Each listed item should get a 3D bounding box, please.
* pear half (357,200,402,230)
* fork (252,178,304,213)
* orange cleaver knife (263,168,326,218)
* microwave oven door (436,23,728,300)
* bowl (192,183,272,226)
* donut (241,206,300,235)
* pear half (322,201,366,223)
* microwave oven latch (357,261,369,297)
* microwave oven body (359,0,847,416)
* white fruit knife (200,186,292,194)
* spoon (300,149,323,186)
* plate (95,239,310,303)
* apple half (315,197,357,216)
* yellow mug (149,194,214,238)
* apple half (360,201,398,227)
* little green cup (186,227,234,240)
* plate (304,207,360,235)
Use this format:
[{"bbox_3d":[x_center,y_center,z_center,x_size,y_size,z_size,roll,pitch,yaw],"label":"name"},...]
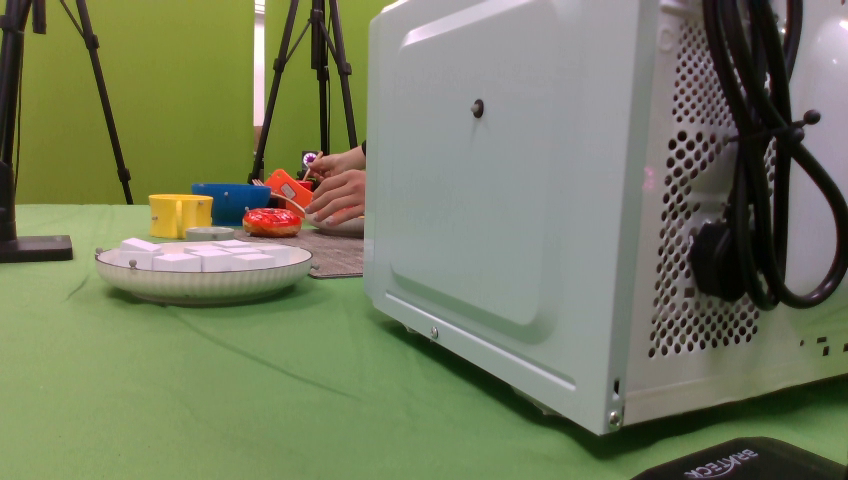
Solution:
[{"bbox_3d":[-0.075,-0.046,1.133,0.076,0.056,0.110,12,7,31],"label":"pear half"},{"bbox_3d":[-0.295,-0.084,1.292,0.206,0.018,0.028,29,11,25],"label":"fork"},{"bbox_3d":[-0.262,-0.088,1.353,0.211,0.077,0.012,28,13,-1],"label":"orange cleaver knife"},{"bbox_3d":[0.180,-0.073,0.621,0.358,0.243,0.039,-2,9,-29],"label":"microwave oven door"},{"bbox_3d":[-0.381,-0.071,1.202,0.151,0.077,0.151,3,7,0],"label":"bowl"},{"bbox_3d":[-0.263,-0.032,1.039,0.099,0.048,0.099,4,9,0],"label":"donut"},{"bbox_3d":[-0.157,-0.059,1.197,0.088,0.031,0.070,11,30,-4],"label":"pear half"},{"bbox_3d":[-0.019,0.033,0.530,0.079,0.029,0.030,-1,7,-26],"label":"microwave oven latch"},{"bbox_3d":[0.211,-0.047,0.474,0.444,0.260,0.324,-1,7,-28],"label":"microwave oven body"},{"bbox_3d":[-0.399,-0.111,1.368,0.208,0.016,0.027,-4,-19,-30],"label":"white fruit knife"},{"bbox_3d":[-0.320,-0.172,1.643,0.041,0.193,0.022,7,-27,33],"label":"spoon"},{"bbox_3d":[-0.224,0.031,0.629,0.208,0.039,0.207,2,8,0],"label":"plate"},{"bbox_3d":[-0.162,-0.053,1.121,0.081,0.053,0.074,4,8,-14],"label":"apple half"},{"bbox_3d":[-0.401,-0.040,1.003,0.100,0.064,0.130,0,9,-20],"label":"yellow mug"},{"bbox_3d":[-0.088,-0.058,1.191,0.081,0.033,0.081,9,29,-5],"label":"apple half"},{"bbox_3d":[-0.284,0.005,0.805,0.061,0.038,0.061,2,8,0],"label":"little green cup"},{"bbox_3d":[-0.123,-0.037,1.149,0.209,0.038,0.209,2,7,0],"label":"plate"}]
